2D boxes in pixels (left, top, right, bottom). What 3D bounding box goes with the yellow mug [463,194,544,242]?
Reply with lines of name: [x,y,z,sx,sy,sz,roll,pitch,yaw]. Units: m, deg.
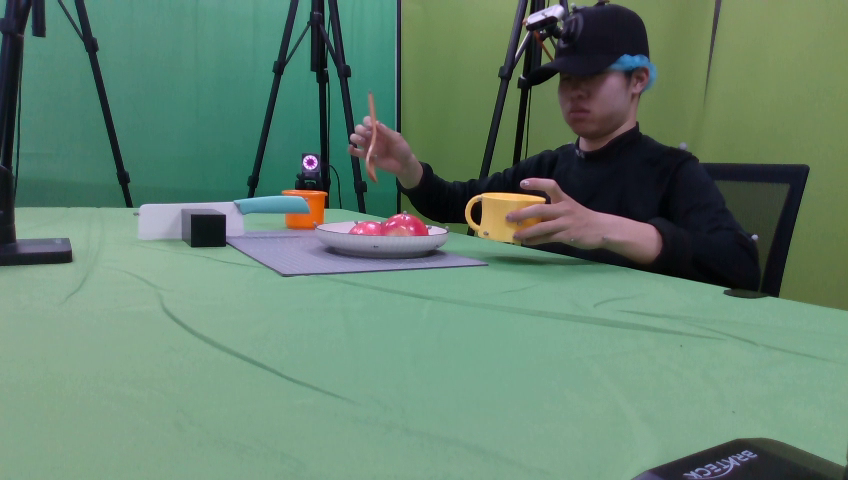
yellow mug: [0.119,-0.038,0.942,0.130,0.064,0.100,8,10,30]

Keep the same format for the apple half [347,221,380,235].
apple half: [-0.088,-0.014,0.985,0.081,0.033,0.081,5,5,0]

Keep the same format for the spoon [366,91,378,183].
spoon: [-0.096,-0.198,1.150,0.021,0.193,0.042,-5,-20,13]

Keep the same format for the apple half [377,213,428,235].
apple half: [-0.034,-0.014,0.924,0.080,0.053,0.075,5,10,16]

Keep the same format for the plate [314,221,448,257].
plate: [-0.067,-0.002,0.948,0.209,0.038,0.209,3,7,0]

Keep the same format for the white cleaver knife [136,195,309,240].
white cleaver knife: [-0.337,-0.039,1.037,0.288,0.066,0.021,-6,15,-29]
